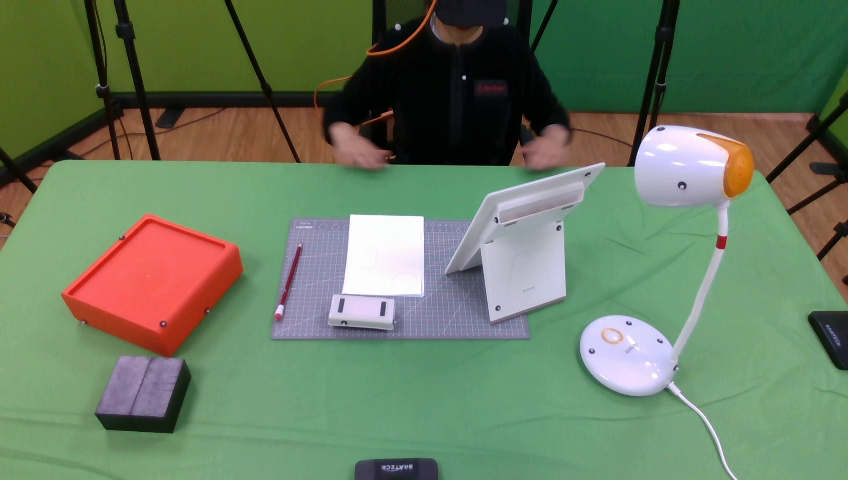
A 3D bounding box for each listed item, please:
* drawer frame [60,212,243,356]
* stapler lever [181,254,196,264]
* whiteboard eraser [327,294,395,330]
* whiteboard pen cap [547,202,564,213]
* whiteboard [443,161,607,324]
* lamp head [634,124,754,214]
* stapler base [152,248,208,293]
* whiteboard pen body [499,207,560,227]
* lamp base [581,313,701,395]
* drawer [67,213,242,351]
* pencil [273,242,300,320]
[{"bbox_3d":[-0.462,0.070,1.053,0.201,0.083,0.213,18,48,12],"label":"drawer frame"},{"bbox_3d":[-0.440,0.026,1.086,0.117,0.040,0.027,30,37,30],"label":"stapler lever"},{"bbox_3d":[-0.108,0.127,1.049,0.113,0.042,0.055,4,45,0],"label":"whiteboard eraser"},{"bbox_3d":[0.277,-0.066,1.275,0.033,0.018,0.018,-18,50,-15],"label":"whiteboard pen cap"},{"bbox_3d":[0.185,0.026,1.028,0.217,0.306,0.143,-15,68,-18],"label":"whiteboard"},{"bbox_3d":[0.351,-0.089,0.775,0.112,0.113,0.122,-30,30,-28],"label":"lamp head"},{"bbox_3d":[-0.443,0.049,1.101,0.130,0.024,0.041,33,38,29],"label":"stapler base"},{"bbox_3d":[0.222,-0.051,1.259,0.141,0.017,0.017,-15,49,-16],"label":"whiteboard pen body"},{"bbox_3d":[0.361,0.144,0.973,0.178,0.181,0.160,34,53,23],"label":"lamp base"},{"bbox_3d":[-0.461,0.068,1.057,0.194,0.073,0.211,19,48,13],"label":"drawer"},{"bbox_3d":[-0.249,0.070,1.115,0.012,0.012,0.193,5,44,1],"label":"pencil"}]
